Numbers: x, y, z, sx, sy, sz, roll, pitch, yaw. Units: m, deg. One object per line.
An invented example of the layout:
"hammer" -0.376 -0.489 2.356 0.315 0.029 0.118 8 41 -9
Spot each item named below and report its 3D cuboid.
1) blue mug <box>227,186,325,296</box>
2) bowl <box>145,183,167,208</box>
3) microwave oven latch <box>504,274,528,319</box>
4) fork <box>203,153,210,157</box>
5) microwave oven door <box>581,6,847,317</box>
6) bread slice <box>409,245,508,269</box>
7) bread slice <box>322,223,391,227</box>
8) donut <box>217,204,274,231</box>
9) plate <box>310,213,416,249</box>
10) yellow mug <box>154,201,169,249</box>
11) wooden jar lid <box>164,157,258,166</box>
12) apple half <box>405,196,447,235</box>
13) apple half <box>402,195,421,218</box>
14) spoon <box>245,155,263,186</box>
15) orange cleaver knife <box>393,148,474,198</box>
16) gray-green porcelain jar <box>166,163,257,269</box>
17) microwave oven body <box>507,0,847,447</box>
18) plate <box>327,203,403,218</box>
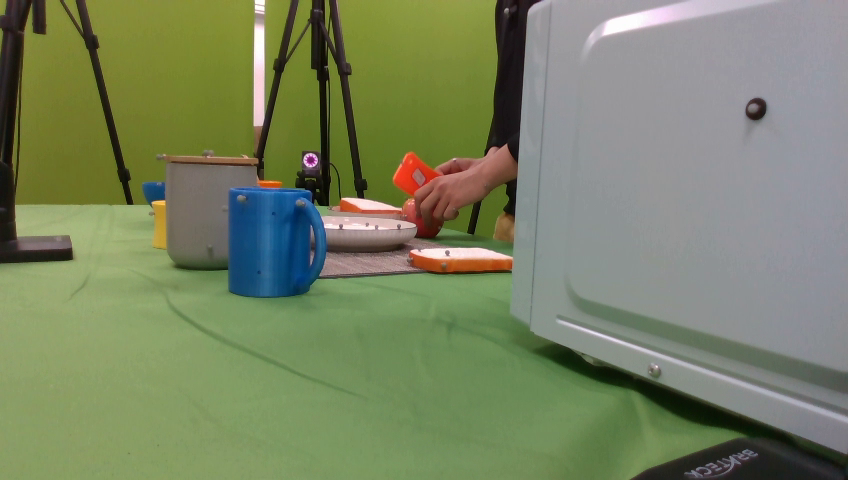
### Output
"blue mug" -0.146 0.000 0.618 0.116 0.106 0.083 7 9 32
"bowl" -0.459 -0.068 1.175 0.151 0.077 0.151 2 7 0
"microwave oven latch" 0.100 0.041 0.470 0.079 0.029 0.030 -1 7 -27
"fork" -0.480 -0.135 1.411 0.028 0.018 0.207 0 -34 -1
"microwave oven door" 0.295 -0.067 0.569 0.358 0.243 0.039 -3 8 -31
"bread slice" 0.048 0.021 0.816 0.132 0.019 0.104 -1 7 -24
"bread slice" -0.116 -0.014 0.974 0.135 0.018 0.106 -6 11 -42
"donut" -0.318 -0.038 1.080 0.099 0.048 0.099 3 7 0
"plate" -0.117 -0.014 0.967 0.208 0.039 0.207 2 7 0
"yellow mug" -0.337 -0.022 0.899 0.130 0.064 0.100 8 9 34
"wooden jar lid" -0.261 -0.093 0.746 0.108 0.020 0.108 0 9 0
"apple half" 0.011 -0.045 1.133 0.081 0.074 0.053 2 8 -36
"apple half" -0.017 -0.051 1.165 0.082 0.081 0.032 -5 11 -40
"spoon" -0.421 -0.150 1.540 0.042 0.021 0.193 -5 55 -37
"orange cleaver knife" 0.022 -0.113 1.165 0.012 0.077 0.212 16 -1 45
"gray-green porcelain jar" -0.263 -0.031 0.754 0.106 0.126 0.106 2 7 0
"microwave oven body" 0.331 -0.042 0.425 0.444 0.260 0.324 -2 8 -31
"plate" -0.102 -0.053 1.299 0.209 0.038 0.209 2 8 0
